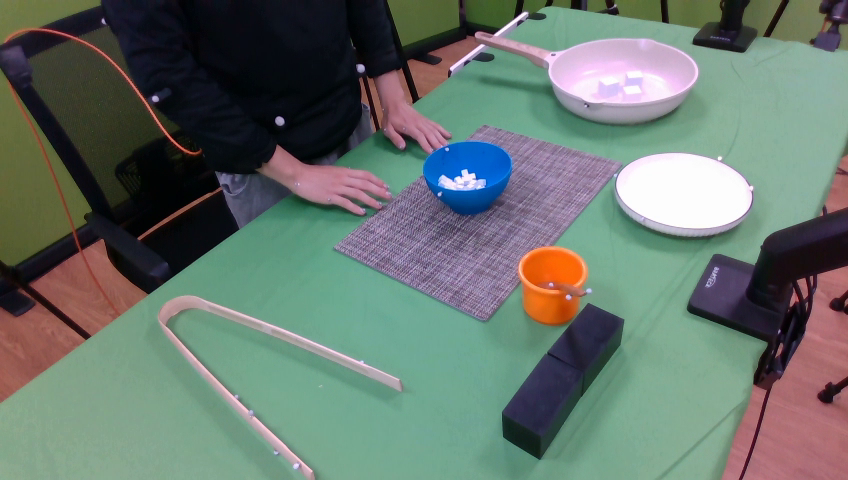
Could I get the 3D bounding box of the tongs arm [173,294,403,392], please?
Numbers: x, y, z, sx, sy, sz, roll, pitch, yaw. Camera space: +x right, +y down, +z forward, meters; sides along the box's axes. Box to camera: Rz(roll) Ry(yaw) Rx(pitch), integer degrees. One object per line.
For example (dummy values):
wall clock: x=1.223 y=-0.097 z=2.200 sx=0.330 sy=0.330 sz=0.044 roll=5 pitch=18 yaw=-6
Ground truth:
tongs arm: x=-0.197 y=0.137 z=0.833 sx=0.385 sy=0.028 sz=0.028 roll=16 pitch=48 yaw=24

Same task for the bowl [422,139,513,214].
bowl: x=0.075 y=-0.097 z=1.021 sx=0.151 sy=0.077 sz=0.150 roll=-4 pitch=41 yaw=4

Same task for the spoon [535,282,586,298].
spoon: x=0.176 y=0.063 z=0.774 sx=0.041 sy=0.194 sz=0.021 roll=-3 pitch=85 yaw=1

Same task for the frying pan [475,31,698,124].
frying pan: x=0.320 y=-0.371 z=1.290 sx=0.485 sy=0.103 sz=0.307 roll=28 pitch=50 yaw=23

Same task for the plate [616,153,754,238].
plate: x=0.416 y=-0.069 z=0.977 sx=0.207 sy=0.039 sz=0.206 roll=-4 pitch=40 yaw=4

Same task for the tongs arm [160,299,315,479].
tongs arm: x=-0.248 y=0.179 z=0.784 sx=0.381 sy=0.026 sz=0.051 roll=27 pitch=49 yaw=34
